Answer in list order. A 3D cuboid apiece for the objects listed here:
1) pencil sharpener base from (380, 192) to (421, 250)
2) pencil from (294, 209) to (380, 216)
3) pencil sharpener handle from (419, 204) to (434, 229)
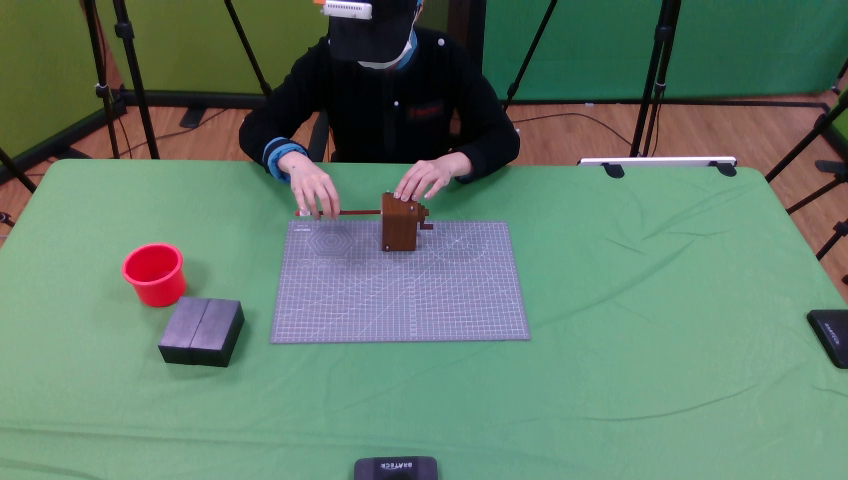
[{"bbox_3d":[-0.046,-0.035,1.163,0.077,0.107,0.061,0,46,-4],"label":"pencil sharpener base"},{"bbox_3d":[-0.146,-0.053,1.139,0.194,0.012,0.012,-1,46,-3],"label":"pencil"},{"bbox_3d":[0.006,-0.045,1.160,0.031,0.068,0.036,0,53,-4],"label":"pencil sharpener handle"}]
